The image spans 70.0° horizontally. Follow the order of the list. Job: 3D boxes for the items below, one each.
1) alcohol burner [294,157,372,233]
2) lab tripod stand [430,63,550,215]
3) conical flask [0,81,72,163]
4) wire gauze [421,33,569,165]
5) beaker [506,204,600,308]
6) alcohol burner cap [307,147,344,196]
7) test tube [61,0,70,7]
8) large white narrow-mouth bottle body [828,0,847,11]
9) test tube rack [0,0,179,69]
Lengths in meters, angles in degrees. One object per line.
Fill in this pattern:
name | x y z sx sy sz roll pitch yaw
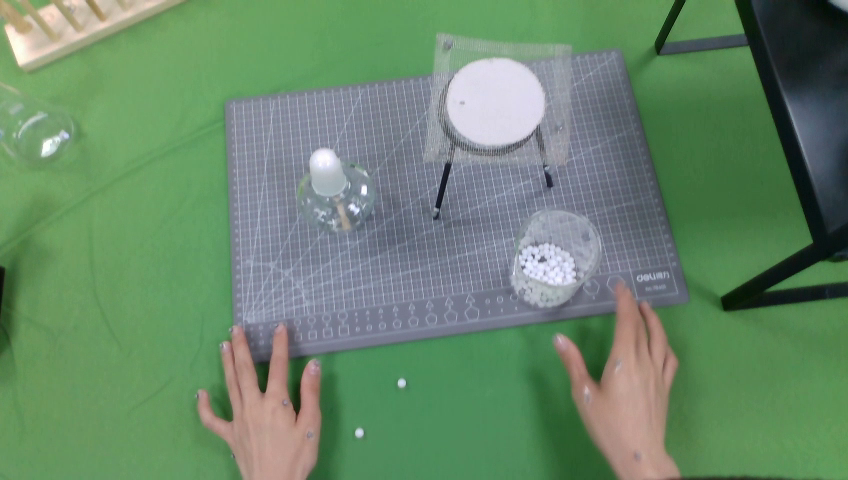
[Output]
alcohol burner | -0.090 -0.052 0.585 0.078 0.120 0.077 0 70 0
lab tripod stand | 0.060 -0.096 0.585 0.148 0.132 0.147 0 71 0
conical flask | -0.430 -0.137 0.620 0.075 0.122 0.075 -1 71 2
wire gauze | 0.063 -0.122 0.522 0.121 0.011 0.124 5 73 2
beaker | 0.113 0.022 0.564 0.084 0.101 0.073 -34 73 -8
alcohol burner cap | -0.092 -0.066 0.552 0.034 0.048 0.033 1 63 -2
test tube | -0.422 -0.307 0.642 0.017 0.151 0.017 0 65 1
large white narrow-mouth bottle body | 0.358 -0.251 0.409 0.102 0.196 0.101 -1 72 3
test tube rack | -0.377 -0.294 0.688 0.242 0.086 0.066 -28 73 -7
